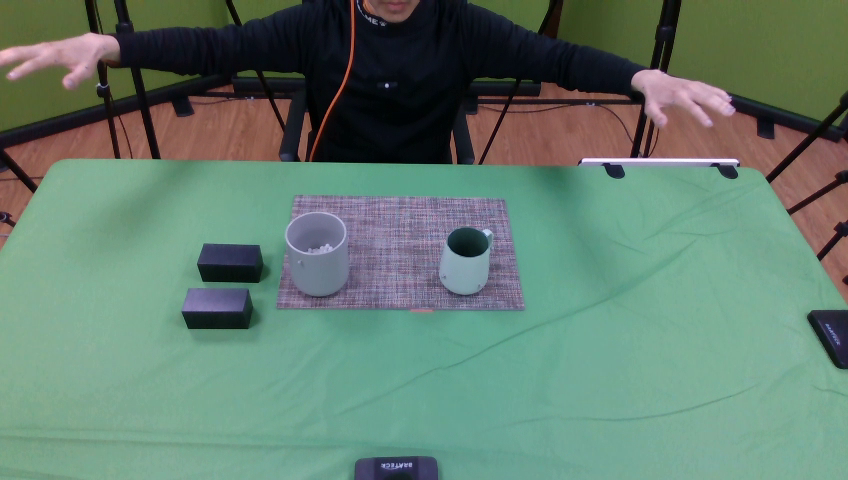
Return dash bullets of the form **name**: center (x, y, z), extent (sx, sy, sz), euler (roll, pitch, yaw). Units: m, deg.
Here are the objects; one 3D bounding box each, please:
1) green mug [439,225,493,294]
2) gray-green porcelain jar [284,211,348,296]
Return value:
- **green mug**: center (0.086, 0.028, 1.113), extent (0.092, 0.105, 0.125), euler (31, 52, 24)
- **gray-green porcelain jar**: center (-0.188, 0.029, 1.077), extent (0.106, 0.127, 0.105), euler (2, 47, -2)
